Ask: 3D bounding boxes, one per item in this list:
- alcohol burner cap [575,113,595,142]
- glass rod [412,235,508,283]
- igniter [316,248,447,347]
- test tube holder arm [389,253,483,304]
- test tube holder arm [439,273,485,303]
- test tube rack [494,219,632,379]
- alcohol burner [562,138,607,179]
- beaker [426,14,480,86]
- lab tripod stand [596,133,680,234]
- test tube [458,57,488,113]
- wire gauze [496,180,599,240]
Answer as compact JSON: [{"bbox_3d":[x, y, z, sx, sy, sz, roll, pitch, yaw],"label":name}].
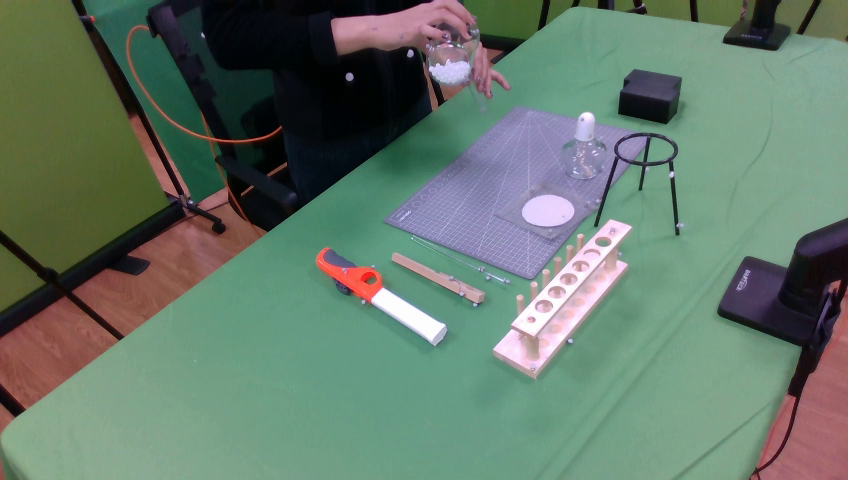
[{"bbox_3d":[0.276,-0.194,1.028,0.034,0.048,0.033,-2,45,3],"label":"alcohol burner cap"},{"bbox_3d":[0.051,0.028,0.951,0.198,0.008,0.008,25,51,37],"label":"glass rod"},{"bbox_3d":[-0.074,0.078,0.902,0.274,0.025,0.057,29,63,36],"label":"igniter"},{"bbox_3d":[0.015,0.056,0.915,0.177,0.015,0.013,23,14,32],"label":"test tube holder arm"},{"bbox_3d":[0.052,0.071,0.896,0.087,0.015,0.010,24,14,34],"label":"test tube holder arm"},{"bbox_3d":[0.191,0.068,0.818,0.066,0.085,0.243,25,51,35],"label":"test tube rack"},{"bbox_3d":[0.280,-0.167,1.052,0.078,0.119,0.077,-5,38,4],"label":"alcohol burner"},{"bbox_3d":[0.044,-0.288,0.931,0.074,0.084,0.100,-4,41,17],"label":"beaker"},{"bbox_3d":[0.338,-0.091,0.940,0.148,0.132,0.147,-7,39,6],"label":"lab tripod stand"},{"bbox_3d":[0.087,-0.267,1.057,0.017,0.151,0.017,-8,66,18],"label":"test tube"},{"bbox_3d":[0.206,-0.050,1.012,0.125,0.011,0.120,-34,45,-26],"label":"wire gauze"}]
